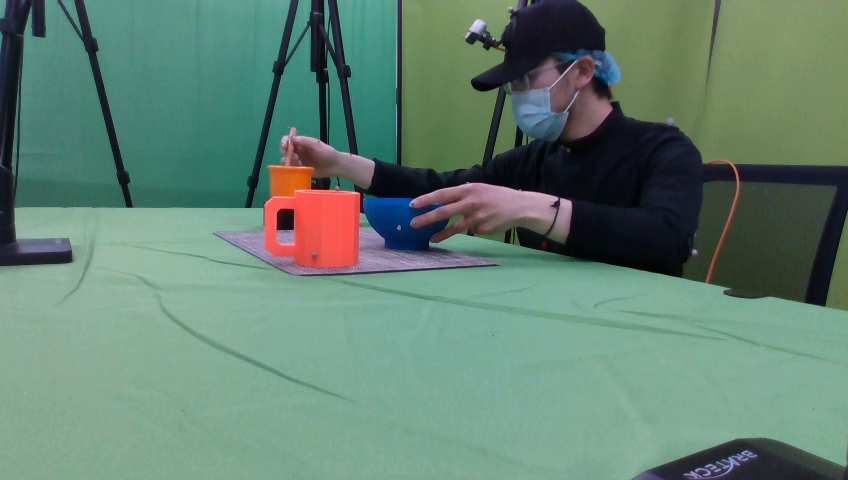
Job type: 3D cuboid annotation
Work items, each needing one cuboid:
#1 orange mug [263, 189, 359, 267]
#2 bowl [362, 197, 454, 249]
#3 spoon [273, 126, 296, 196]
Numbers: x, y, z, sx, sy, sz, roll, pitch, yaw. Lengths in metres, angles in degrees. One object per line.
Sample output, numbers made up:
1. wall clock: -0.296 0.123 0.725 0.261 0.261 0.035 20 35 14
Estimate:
1. orange mug: -0.147 -0.019 0.794 0.127 0.100 0.083 5 6 -19
2. bowl: -0.027 -0.028 0.991 0.151 0.077 0.151 2 7 0
3. spoon: -0.278 -0.160 1.240 0.041 0.193 0.022 -2 -28 6
